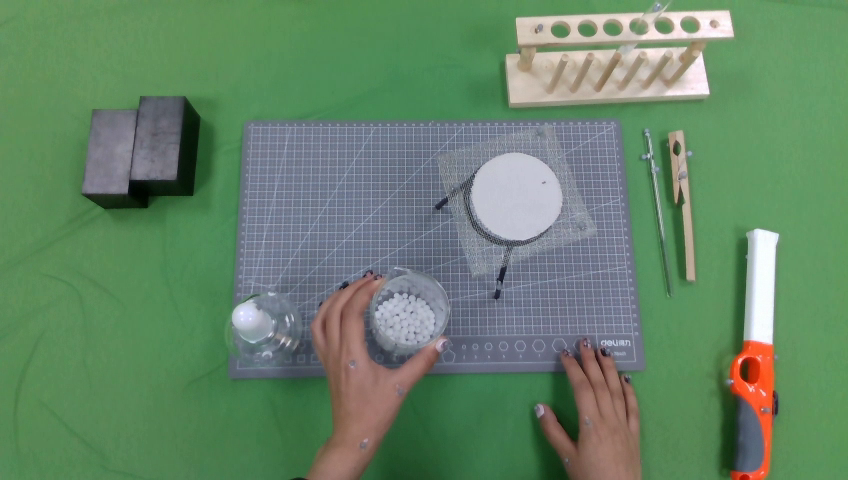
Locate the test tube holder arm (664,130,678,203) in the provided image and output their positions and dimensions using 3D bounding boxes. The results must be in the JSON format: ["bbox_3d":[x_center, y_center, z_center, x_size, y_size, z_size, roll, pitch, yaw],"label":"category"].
[{"bbox_3d":[0.293,-0.086,0.714,0.010,0.015,0.087,-9,74,30],"label":"test tube holder arm"}]

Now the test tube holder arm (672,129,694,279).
[{"bbox_3d":[0.299,-0.043,0.701,0.013,0.015,0.177,-9,74,30],"label":"test tube holder arm"}]

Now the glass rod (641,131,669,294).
[{"bbox_3d":[0.268,-0.035,0.705,0.008,0.008,0.198,-2,76,-2],"label":"glass rod"}]

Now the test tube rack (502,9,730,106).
[{"bbox_3d":[0.219,-0.211,0.708,0.242,0.085,0.066,-3,75,-2],"label":"test tube rack"}]

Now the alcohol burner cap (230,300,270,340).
[{"bbox_3d":[-0.167,0.073,0.572,0.034,0.048,0.033,1,66,-2],"label":"alcohol burner cap"}]

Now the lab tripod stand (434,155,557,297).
[{"bbox_3d":[0.075,-0.023,0.630,0.148,0.132,0.147,0,76,1],"label":"lab tripod stand"}]

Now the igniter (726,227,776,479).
[{"bbox_3d":[0.357,0.120,0.659,0.057,0.025,0.275,13,76,-8],"label":"igniter"}]

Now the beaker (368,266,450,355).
[{"bbox_3d":[-0.021,0.074,0.610,0.074,0.100,0.083,-22,78,-13],"label":"beaker"}]

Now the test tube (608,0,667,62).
[{"bbox_3d":[0.239,-0.240,0.665,0.017,0.150,0.017,2,75,-7],"label":"test tube"}]

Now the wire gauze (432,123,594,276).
[{"bbox_3d":[0.081,-0.042,0.565,0.121,0.011,0.124,-17,77,-4],"label":"wire gauze"}]

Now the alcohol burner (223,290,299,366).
[{"bbox_3d":[-0.167,0.085,0.606,0.078,0.119,0.077,0,73,-1],"label":"alcohol burner"}]
